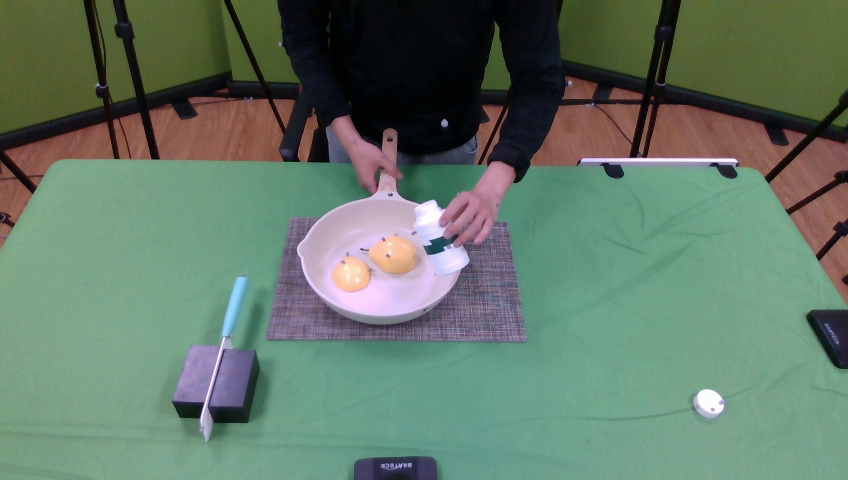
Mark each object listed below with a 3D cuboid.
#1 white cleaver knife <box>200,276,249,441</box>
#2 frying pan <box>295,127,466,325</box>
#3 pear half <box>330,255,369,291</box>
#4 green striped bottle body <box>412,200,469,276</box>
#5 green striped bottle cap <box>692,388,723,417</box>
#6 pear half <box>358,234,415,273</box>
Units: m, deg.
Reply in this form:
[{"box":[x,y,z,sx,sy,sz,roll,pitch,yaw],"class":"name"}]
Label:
[{"box":[-0.321,0.177,0.972,0.021,0.066,0.284,7,48,-5],"class":"white cleaver knife"},{"box":[-0.076,-0.045,1.172,0.307,0.103,0.485,3,55,-2],"class":"frying pan"},{"box":[-0.139,0.053,1.121,0.070,0.031,0.087,-6,50,-17],"class":"pear half"},{"box":[0.023,-0.006,1.001,0.063,0.119,0.063,-24,13,6],"class":"green striped bottle body"},{"box":[0.460,0.263,0.984,0.044,0.020,0.044,3,47,-3],"class":"green striped bottle cap"},{"box":[-0.074,0.017,1.146,0.110,0.056,0.076,8,41,7],"class":"pear half"}]
